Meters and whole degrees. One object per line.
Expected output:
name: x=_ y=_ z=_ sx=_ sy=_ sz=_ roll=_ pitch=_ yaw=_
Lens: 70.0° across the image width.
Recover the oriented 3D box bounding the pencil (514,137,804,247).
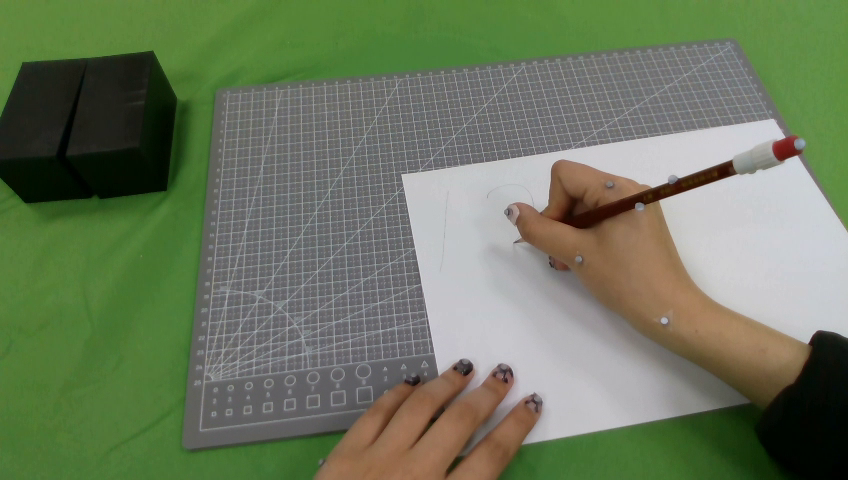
pencil: x=0.113 y=-0.018 z=0.342 sx=0.012 sy=0.193 sz=0.012 roll=9 pitch=72 yaw=-30
